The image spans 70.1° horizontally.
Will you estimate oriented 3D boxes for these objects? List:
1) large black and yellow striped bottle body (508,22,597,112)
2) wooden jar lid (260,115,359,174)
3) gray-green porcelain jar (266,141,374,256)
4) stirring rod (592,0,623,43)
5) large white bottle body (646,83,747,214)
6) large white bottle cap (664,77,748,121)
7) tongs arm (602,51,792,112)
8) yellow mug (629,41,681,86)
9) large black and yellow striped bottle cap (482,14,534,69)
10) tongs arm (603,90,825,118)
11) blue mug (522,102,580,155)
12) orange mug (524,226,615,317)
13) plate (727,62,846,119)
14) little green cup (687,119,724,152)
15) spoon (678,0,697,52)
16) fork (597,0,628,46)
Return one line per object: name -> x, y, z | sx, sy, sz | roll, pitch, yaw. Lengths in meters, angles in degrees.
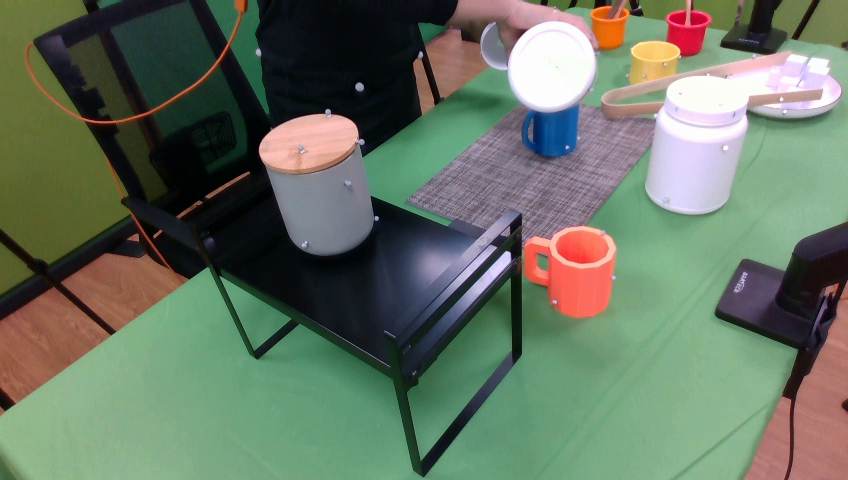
large black and yellow striped bottle body -> 0.214, -0.277, 0.986 | 0.130, 0.131, 0.184 | 6, 14, 16
wooden jar lid -> -0.124, -0.101, 0.662 | 0.108, 0.021, 0.108 | -4, 41, 4
gray-green porcelain jar -> -0.117, -0.054, 0.703 | 0.106, 0.127, 0.105 | -4, 40, 4
stirring rod -> 0.460, -0.557, 1.461 | 0.014, 0.176, 0.006 | 35, 11, 22
large white bottle body -> 0.431, -0.148, 0.959 | 0.130, 0.185, 0.130 | -4, 41, 4
large white bottle cap -> 0.421, -0.212, 0.905 | 0.115, 0.018, 0.114 | -4, 40, 4
tongs arm -> 0.552, -0.320, 1.223 | 0.384, 0.027, 0.050 | -10, 43, 7
yellow mug -> 0.495, -0.389, 1.321 | 0.100, 0.064, 0.130 | -14, 40, -6
large black and yellow striped bottle cap -> 0.175, -0.403, 1.233 | 0.115, 0.115, 0.018 | -7, 48, 1
tongs arm -> 0.546, -0.262, 1.162 | 0.386, 0.028, 0.028 | -1, 49, 18
blue mug -> 0.233, -0.218, 1.127 | 0.117, 0.106, 0.081 | -23, 43, -16
orange mug -> 0.201, 0.039, 0.845 | 0.125, 0.101, 0.083 | 18, 47, 21
plate -> 0.709, -0.292, 1.197 | 0.207, 0.039, 0.206 | -4, 40, 4
little green cup -> 0.514, -0.191, 1.109 | 0.061, 0.039, 0.061 | -4, 40, 4
spoon -> 0.614, -0.526, 1.402 | 0.041, 0.022, 0.193 | 3, 86, 11
fork -> 0.479, -0.558, 1.455 | 0.028, 0.019, 0.207 | 35, 100, 38
